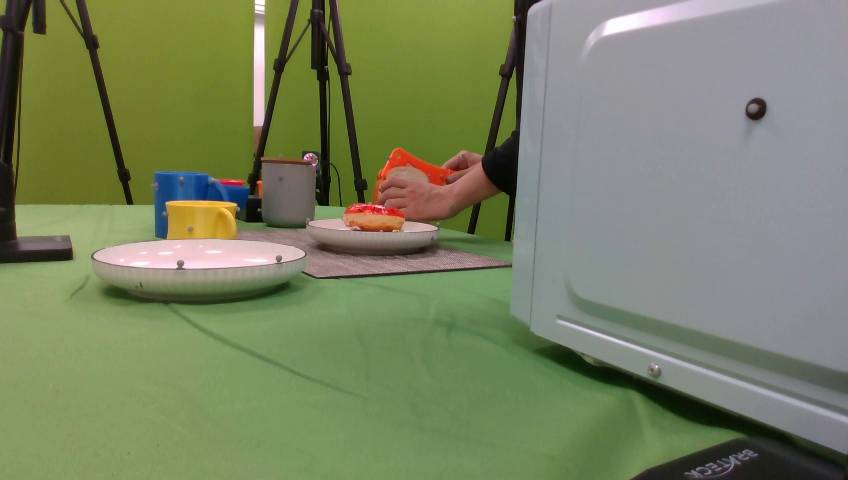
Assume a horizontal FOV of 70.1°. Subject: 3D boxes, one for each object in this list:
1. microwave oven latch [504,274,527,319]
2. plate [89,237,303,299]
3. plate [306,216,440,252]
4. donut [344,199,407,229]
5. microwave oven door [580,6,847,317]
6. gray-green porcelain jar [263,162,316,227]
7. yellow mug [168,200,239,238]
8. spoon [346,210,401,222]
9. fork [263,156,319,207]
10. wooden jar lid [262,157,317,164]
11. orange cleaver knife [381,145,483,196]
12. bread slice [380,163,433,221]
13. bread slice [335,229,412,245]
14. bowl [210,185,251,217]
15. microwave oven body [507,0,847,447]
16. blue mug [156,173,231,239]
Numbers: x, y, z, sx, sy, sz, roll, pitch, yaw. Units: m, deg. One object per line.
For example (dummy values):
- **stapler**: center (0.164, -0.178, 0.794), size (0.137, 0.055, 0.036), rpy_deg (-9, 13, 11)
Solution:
- **microwave oven latch**: center (0.100, 0.041, 0.471), size (0.079, 0.029, 0.030), rpy_deg (-1, 7, -28)
- **plate**: center (-0.233, 0.029, 0.637), size (0.208, 0.039, 0.207), rpy_deg (2, 7, 0)
- **plate**: center (-0.079, -0.011, 0.950), size (0.209, 0.038, 0.209), rpy_deg (2, 8, 0)
- **donut**: center (-0.076, -0.039, 0.949), size (0.099, 0.048, 0.099), rpy_deg (2, 4, 0)
- **microwave oven door**: center (0.294, -0.067, 0.570), size (0.358, 0.243, 0.039), rpy_deg (-3, 8, -31)
- **gray-green porcelain jar**: center (-0.271, -0.092, 1.217), size (0.106, 0.126, 0.106), rpy_deg (2, 7, 0)
- **yellow mug**: center (-0.319, -0.023, 0.904), size (0.130, 0.064, 0.100), rpy_deg (9, 11, 36)
- **spoon**: center (-0.121, -0.060, 1.400), size (0.042, 0.021, 0.192), rpy_deg (-28, 25, -37)
- **fork**: center (-0.331, -0.144, 1.505), size (0.207, 0.018, 0.028), rpy_deg (-42, -21, 22)
- **wooden jar lid**: center (-0.269, -0.154, 1.208), size (0.108, 0.020, 0.108), rpy_deg (3, 4, 0)
- **orange cleaver knife**: center (0.017, -0.124, 1.160), size (0.212, 0.077, 0.012), rpy_deg (11, 0, -27)
- **bread slice**: center (-0.036, -0.075, 1.126), size (0.107, 0.134, 0.018), rpy_deg (-3, 7, -24)
- **bread slice**: center (-0.074, -0.006, 0.938), size (0.105, 0.019, 0.131), rpy_deg (-2, 4, -19)
- **bowl**: center (-0.408, -0.064, 1.155), size (0.151, 0.077, 0.151), rpy_deg (2, 8, 0)
- **microwave oven body**: center (0.331, -0.042, 0.425), size (0.444, 0.260, 0.324), rpy_deg (-2, 8, -31)
- **blue mug**: center (-0.381, -0.057, 1.004), size (0.117, 0.106, 0.082), rpy_deg (0, 8, -12)
